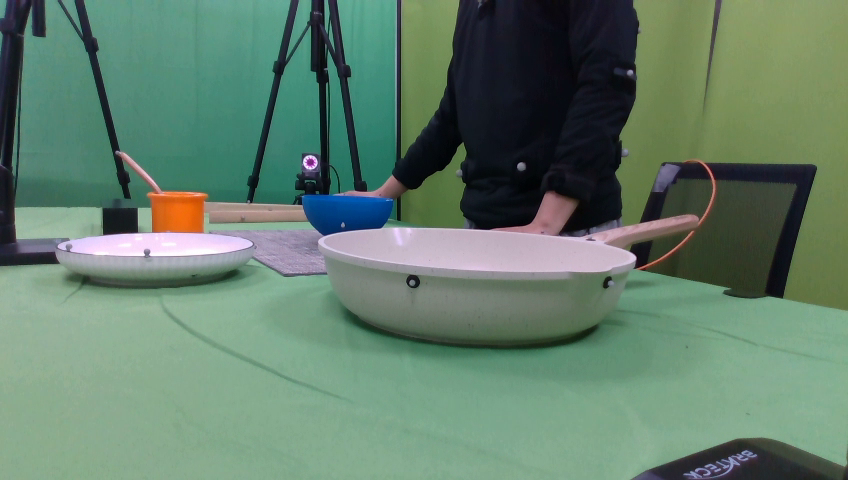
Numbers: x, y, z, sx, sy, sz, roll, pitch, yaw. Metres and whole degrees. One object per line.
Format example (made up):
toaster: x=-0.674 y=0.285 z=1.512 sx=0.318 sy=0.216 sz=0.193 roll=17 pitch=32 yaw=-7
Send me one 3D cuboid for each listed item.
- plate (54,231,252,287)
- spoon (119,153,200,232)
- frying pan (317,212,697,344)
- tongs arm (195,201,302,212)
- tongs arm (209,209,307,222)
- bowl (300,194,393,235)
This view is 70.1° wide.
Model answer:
plate: x=-0.309 y=0.020 z=0.705 sx=0.208 sy=0.039 sz=0.207 roll=3 pitch=7 yaw=0
spoon: x=-0.439 y=-0.077 z=1.000 sx=0.021 sy=0.193 sz=0.042 roll=-43 pitch=-7 yaw=21
frying pan: x=0.133 y=0.013 z=0.629 sx=0.490 sy=0.102 sz=0.305 roll=-12 pitch=14 yaw=-31
tongs arm: x=-0.333 y=-0.072 z=1.432 sx=0.387 sy=0.026 sz=0.050 roll=0 pitch=8 yaw=-27
tongs arm: x=-0.292 y=-0.058 z=1.364 sx=0.390 sy=0.028 sz=0.028 roll=-3 pitch=6 yaw=-39
bowl: x=-0.128 y=-0.034 z=0.995 sx=0.151 sy=0.077 sz=0.151 roll=2 pitch=7 yaw=0
